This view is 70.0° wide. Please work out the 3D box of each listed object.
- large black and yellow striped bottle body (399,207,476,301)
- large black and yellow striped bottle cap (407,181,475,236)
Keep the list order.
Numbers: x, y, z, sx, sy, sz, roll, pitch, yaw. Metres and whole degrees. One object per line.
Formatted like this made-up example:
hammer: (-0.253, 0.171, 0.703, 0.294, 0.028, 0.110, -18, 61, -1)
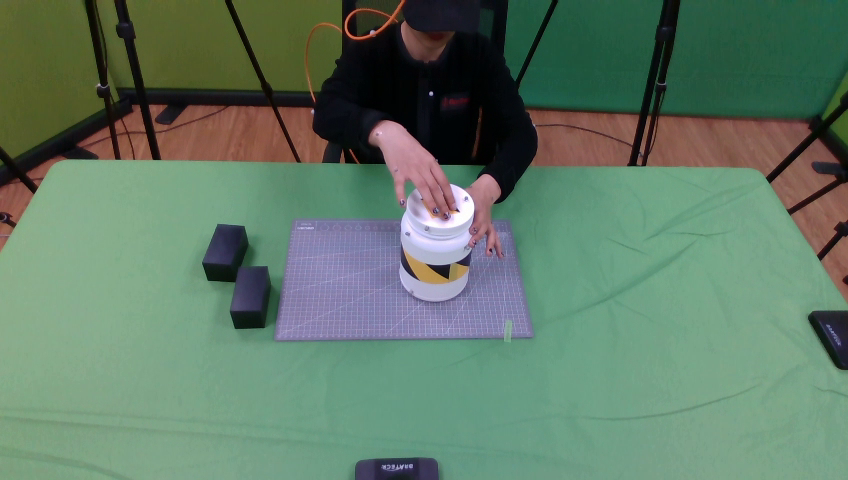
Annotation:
large black and yellow striped bottle body: (0.022, 0.006, 1.076, 0.131, 0.185, 0.130, 2, 46, -2)
large black and yellow striped bottle cap: (0.028, -0.054, 1.013, 0.115, 0.019, 0.114, 2, 47, -2)
